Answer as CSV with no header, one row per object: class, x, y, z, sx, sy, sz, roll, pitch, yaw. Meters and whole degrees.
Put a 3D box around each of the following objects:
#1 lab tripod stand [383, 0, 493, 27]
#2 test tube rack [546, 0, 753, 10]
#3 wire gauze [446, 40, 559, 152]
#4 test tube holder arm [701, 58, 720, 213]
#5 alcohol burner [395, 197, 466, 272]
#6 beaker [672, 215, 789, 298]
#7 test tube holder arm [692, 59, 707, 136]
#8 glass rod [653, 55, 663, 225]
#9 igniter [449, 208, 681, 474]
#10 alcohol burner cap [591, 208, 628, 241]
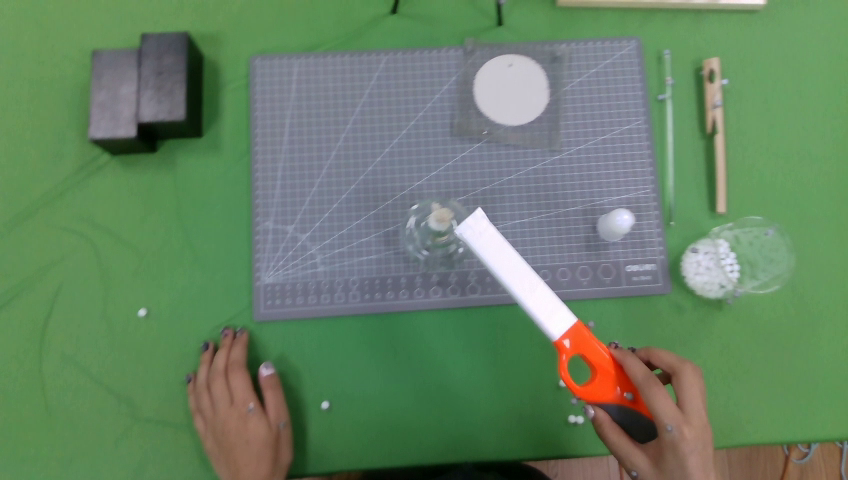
lab tripod stand,0.020,-0.301,0.650,0.148,0.132,0.148,0,82,-1
test tube rack,0.266,-0.313,0.683,0.242,0.085,0.066,0,80,-1
wire gauze,0.091,-0.167,0.690,0.125,0.011,0.121,7,81,-1
test tube holder arm,0.323,-0.119,0.684,0.013,0.015,0.177,-7,80,31
alcohol burner,0.009,-0.009,0.607,0.078,0.119,0.077,0,79,1
beaker,0.304,0.020,0.620,0.084,0.100,0.074,28,80,5
test tube holder arm,0.317,-0.163,0.694,0.010,0.015,0.087,-7,80,31
glass rod,0.266,-0.115,0.688,0.008,0.008,0.199,2,83,-1
igniter,0.123,0.086,0.516,0.057,0.025,0.276,-42,90,-9
alcohol burner cap,0.201,-0.019,0.650,0.034,0.048,0.033,0,80,-1
